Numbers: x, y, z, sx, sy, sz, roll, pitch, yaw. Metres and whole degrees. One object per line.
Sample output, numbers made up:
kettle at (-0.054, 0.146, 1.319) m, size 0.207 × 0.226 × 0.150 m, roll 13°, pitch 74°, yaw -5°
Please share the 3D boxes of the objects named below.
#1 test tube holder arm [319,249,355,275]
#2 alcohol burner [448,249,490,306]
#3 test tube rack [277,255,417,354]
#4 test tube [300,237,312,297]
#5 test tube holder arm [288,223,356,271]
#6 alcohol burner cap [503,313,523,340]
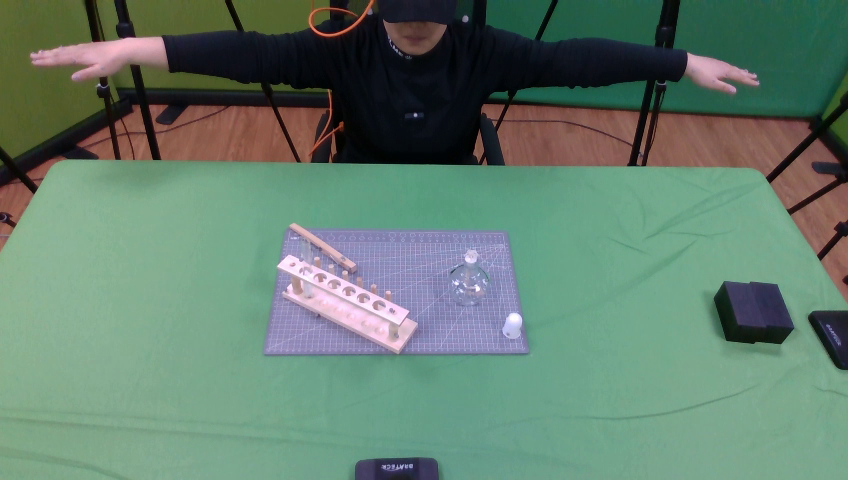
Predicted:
test tube holder arm at (-0.166, 0.038, 1.154) m, size 0.087 × 0.010 × 0.015 m, roll 37°, pitch 49°, yaw 21°
alcohol burner at (0.081, 0.062, 1.078) m, size 0.078 × 0.120 × 0.077 m, roll 1°, pitch 45°, yaw -1°
test tube rack at (-0.131, 0.099, 1.045) m, size 0.241 × 0.085 × 0.066 m, roll 23°, pitch 49°, yaw 17°
test tube at (-0.198, 0.049, 1.019) m, size 0.017 × 0.151 × 0.017 m, roll 4°, pitch 49°, yaw -5°
test tube holder arm at (-0.199, 0.011, 1.169) m, size 0.177 × 0.013 × 0.015 m, roll 32°, pitch 47°, yaw 26°
alcohol burner cap at (0.155, 0.147, 1.051) m, size 0.034 × 0.048 × 0.033 m, roll 1°, pitch 46°, yaw -1°
